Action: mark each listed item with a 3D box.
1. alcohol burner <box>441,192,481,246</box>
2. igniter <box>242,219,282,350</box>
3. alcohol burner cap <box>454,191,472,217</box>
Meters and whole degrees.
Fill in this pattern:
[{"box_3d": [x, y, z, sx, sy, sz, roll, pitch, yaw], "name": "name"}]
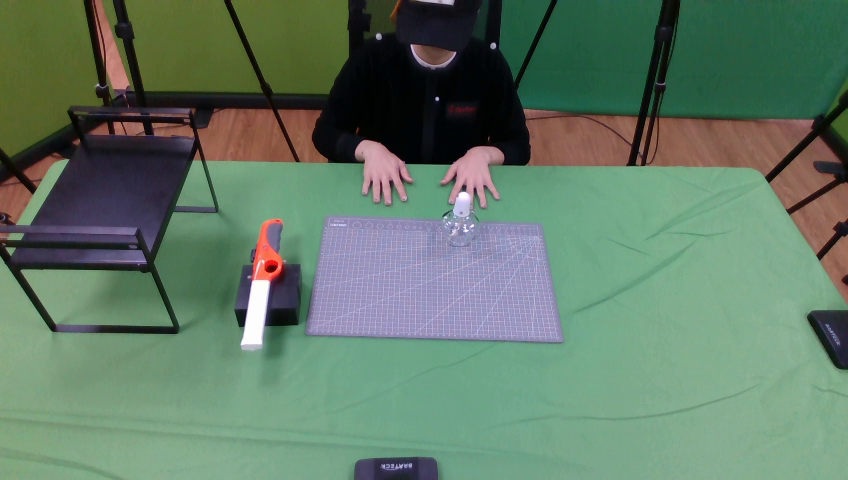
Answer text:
[{"box_3d": [0.073, -0.046, 1.176, 0.078, 0.119, 0.077, 2, 44, -2], "name": "alcohol burner"}, {"box_3d": [-0.277, 0.065, 1.044, 0.057, 0.025, 0.274, 1, 48, -6], "name": "igniter"}, {"box_3d": [0.076, -0.070, 1.150, 0.034, 0.048, 0.033, 2, 43, -2], "name": "alcohol burner cap"}]
